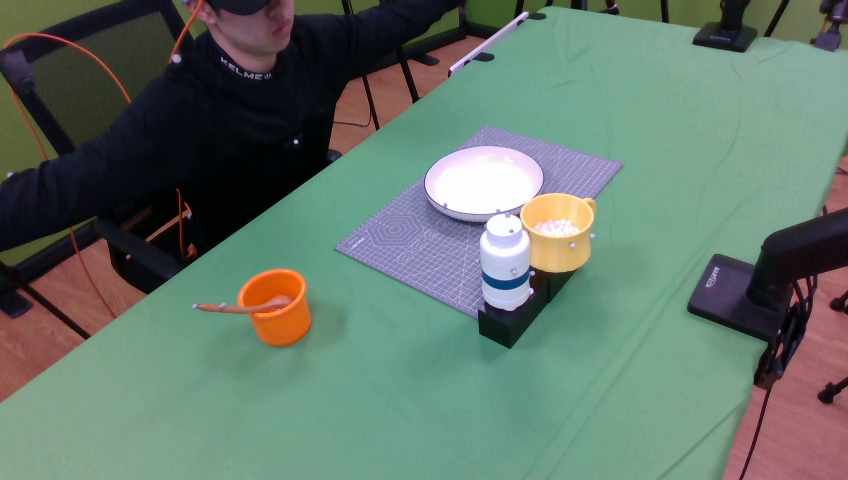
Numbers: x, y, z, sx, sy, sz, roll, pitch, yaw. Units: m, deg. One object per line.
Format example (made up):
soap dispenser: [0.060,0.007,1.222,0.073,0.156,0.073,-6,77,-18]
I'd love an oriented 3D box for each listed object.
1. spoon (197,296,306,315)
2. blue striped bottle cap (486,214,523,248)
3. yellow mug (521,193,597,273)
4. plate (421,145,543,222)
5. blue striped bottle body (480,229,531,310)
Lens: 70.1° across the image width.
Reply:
spoon: [-0.220,0.089,0.793,0.041,0.021,0.195,19,7,25]
blue striped bottle cap: [0.098,-0.011,0.735,0.044,0.021,0.044,-3,38,3]
yellow mug: [0.197,-0.019,0.852,0.131,0.064,0.099,-30,46,-25]
plate: [0.101,-0.094,1.048,0.207,0.039,0.206,-4,41,4]
blue striped bottle body: [0.104,0.027,0.769,0.063,0.121,0.063,-4,40,4]
